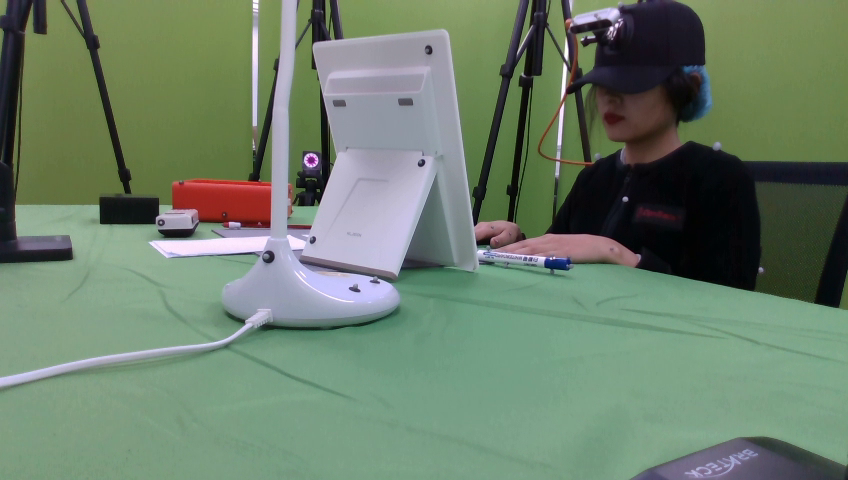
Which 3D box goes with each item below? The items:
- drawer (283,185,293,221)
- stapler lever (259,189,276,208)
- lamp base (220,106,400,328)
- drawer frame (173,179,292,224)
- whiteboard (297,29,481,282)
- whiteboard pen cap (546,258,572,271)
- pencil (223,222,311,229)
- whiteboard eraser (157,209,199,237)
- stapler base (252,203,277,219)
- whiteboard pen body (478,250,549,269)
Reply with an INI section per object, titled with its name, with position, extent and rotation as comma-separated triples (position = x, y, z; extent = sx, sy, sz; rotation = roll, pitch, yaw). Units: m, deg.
[drawer]
position = -0.396, -0.084, 1.301
extent = 0.212, 0.073, 0.194
rotation = 1, 8, -7
[stapler lever]
position = -0.335, -0.090, 1.300
extent = 0.027, 0.040, 0.118
rotation = 15, 4, -10
[lamp base]
position = -0.101, -0.023, 0.531
extent = 0.160, 0.180, 0.179
rotation = 4, 10, 10
[drawer frame]
position = -0.400, -0.086, 1.300
extent = 0.214, 0.082, 0.201
rotation = 1, 8, -8
[whiteboard]
position = -0.075, -0.082, 0.742
extent = 0.216, 0.305, 0.144
rotation = 9, 29, 37
[whiteboard pen cap]
position = 0.176, 0.032, 0.790
extent = 0.033, 0.018, 0.018
rotation = 3, 6, 38
[pencil]
position = -0.274, -0.025, 1.132
extent = 0.195, 0.012, 0.012
rotation = 1, 8, -25
[whiteboard eraser]
position = -0.411, -0.029, 1.016
extent = 0.056, 0.042, 0.112
rotation = 2, 7, -16
[stapler base]
position = -0.340, -0.065, 1.301
extent = 0.041, 0.024, 0.130
rotation = 15, 5, -10
[whiteboard pen body]
position = 0.130, 0.028, 0.827
extent = 0.140, 0.017, 0.017
rotation = 6, 8, 38
